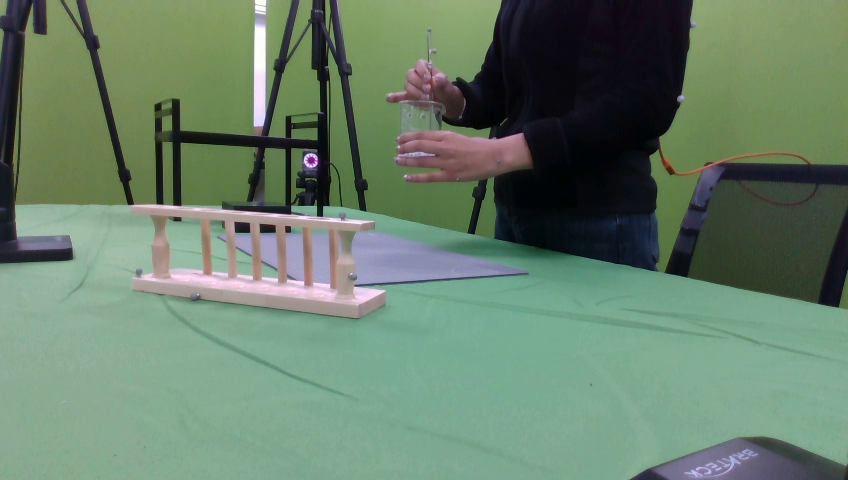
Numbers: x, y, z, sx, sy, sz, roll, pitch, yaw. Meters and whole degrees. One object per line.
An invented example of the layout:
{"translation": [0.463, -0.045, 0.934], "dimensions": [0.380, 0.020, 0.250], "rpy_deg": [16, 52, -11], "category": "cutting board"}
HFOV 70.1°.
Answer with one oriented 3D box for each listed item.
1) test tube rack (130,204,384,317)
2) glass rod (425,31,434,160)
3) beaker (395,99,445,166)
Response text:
{"translation": [-0.163, 0.013, 0.589], "dimensions": [0.242, 0.085, 0.067], "rpy_deg": [5, 8, 17], "category": "test tube rack"}
{"translation": [0.010, -0.227, 0.953], "dimensions": [0.008, 0.199, 0.008], "rpy_deg": [-2, 6, 1], "category": "glass rod"}
{"translation": [-0.006, -0.170, 0.966], "dimensions": [0.084, 0.100, 0.073], "rpy_deg": [0, 6, -25], "category": "beaker"}
